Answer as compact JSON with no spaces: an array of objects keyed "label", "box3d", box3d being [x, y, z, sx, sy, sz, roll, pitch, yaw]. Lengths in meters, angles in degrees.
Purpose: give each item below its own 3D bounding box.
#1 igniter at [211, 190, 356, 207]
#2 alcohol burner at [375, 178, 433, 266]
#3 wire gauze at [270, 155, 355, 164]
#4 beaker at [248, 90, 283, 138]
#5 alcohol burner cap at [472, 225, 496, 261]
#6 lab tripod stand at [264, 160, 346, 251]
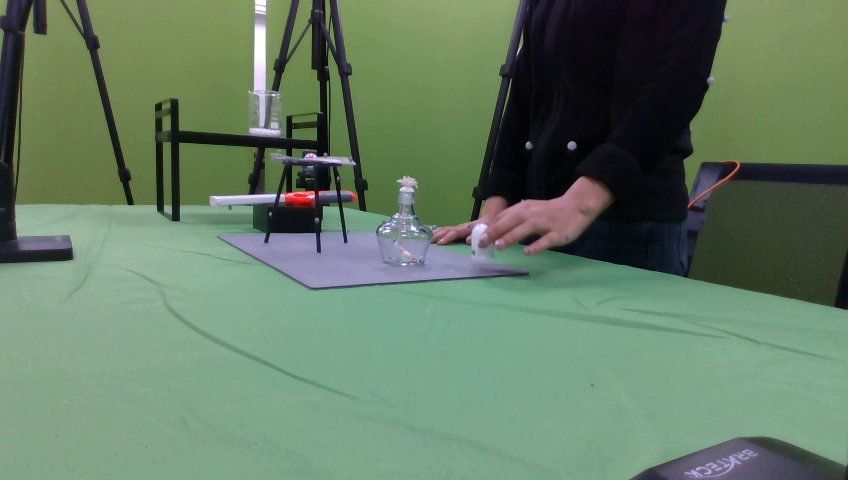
[{"label":"igniter","box3d":[-0.260,-0.080,1.152,0.278,0.025,0.057,-5,13,-34]},{"label":"alcohol burner","box3d":[-0.026,-0.025,0.815,0.078,0.119,0.078,5,7,0]},{"label":"wire gauze","box3d":[-0.174,-0.123,0.925,0.125,0.011,0.121,0,8,-12]},{"label":"beaker","box3d":[-0.354,-0.278,1.340,0.074,0.100,0.084,6,9,26]},{"label":"alcohol burner cap","box3d":[0.077,0.004,0.795,0.034,0.048,0.034,-6,8,1]},{"label":"lab tripod stand","box3d":[-0.178,-0.056,0.930,0.148,0.131,0.148,1,9,0]}]
